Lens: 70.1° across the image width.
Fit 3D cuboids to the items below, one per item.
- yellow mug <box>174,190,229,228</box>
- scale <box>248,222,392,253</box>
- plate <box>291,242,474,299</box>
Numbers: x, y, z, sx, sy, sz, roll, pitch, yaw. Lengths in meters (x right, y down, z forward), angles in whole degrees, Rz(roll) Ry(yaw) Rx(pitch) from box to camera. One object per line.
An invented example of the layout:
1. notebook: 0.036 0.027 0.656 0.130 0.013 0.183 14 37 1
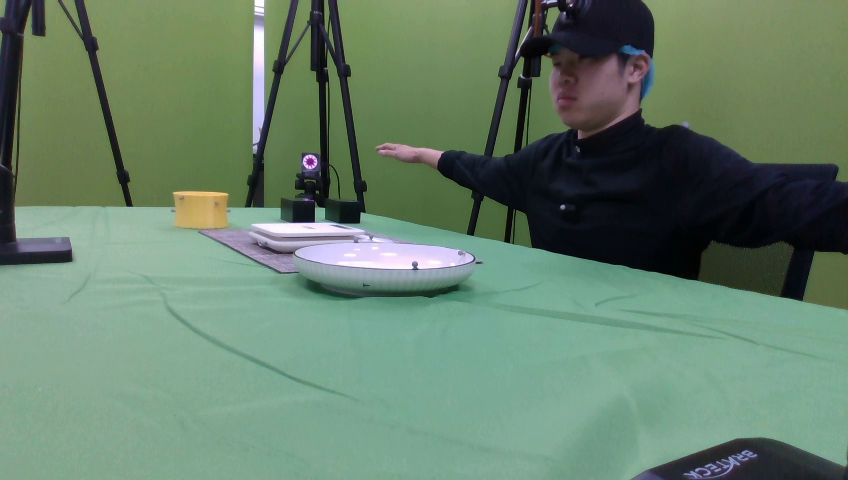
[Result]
1. yellow mug: -0.427 -0.063 1.189 0.100 0.064 0.131 5 7 13
2. scale: -0.162 -0.006 0.954 0.202 0.031 0.148 -1 9 -32
3. plate: -0.047 0.033 0.693 0.209 0.038 0.209 3 7 0
